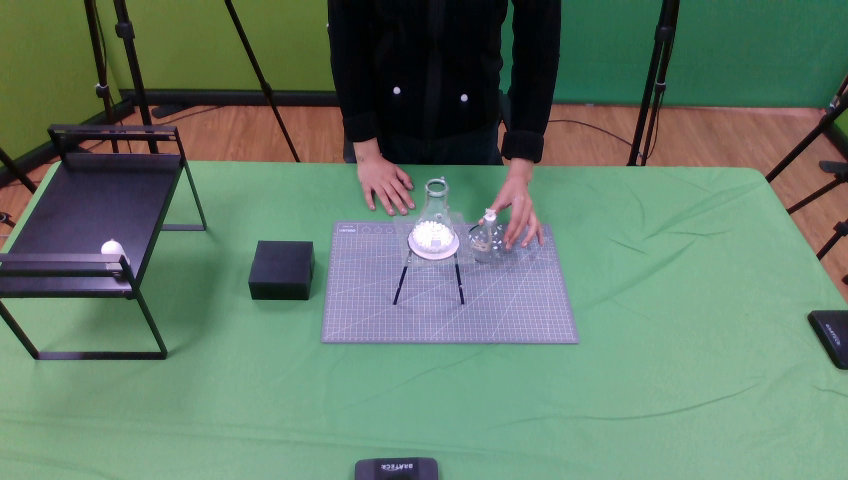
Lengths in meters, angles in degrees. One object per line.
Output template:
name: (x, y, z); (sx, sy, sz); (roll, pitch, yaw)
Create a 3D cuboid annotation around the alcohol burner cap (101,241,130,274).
alcohol burner cap: (-0.449, 0.022, 0.878); (0.034, 0.048, 0.033); (2, 45, -2)

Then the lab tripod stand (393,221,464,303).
lab tripod stand: (0.009, 0.045, 1.075); (0.148, 0.132, 0.147); (2, 48, -2)

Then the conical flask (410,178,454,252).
conical flask: (0.016, -0.043, 0.987); (0.075, 0.122, 0.075); (2, 47, -2)

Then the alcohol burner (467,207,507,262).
alcohol burner: (0.122, -0.016, 1.155); (0.078, 0.120, 0.077); (1, 46, -1)

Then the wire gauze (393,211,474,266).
wire gauze: (0.015, -0.002, 1.029); (0.125, 0.011, 0.120); (-6, 45, -6)
